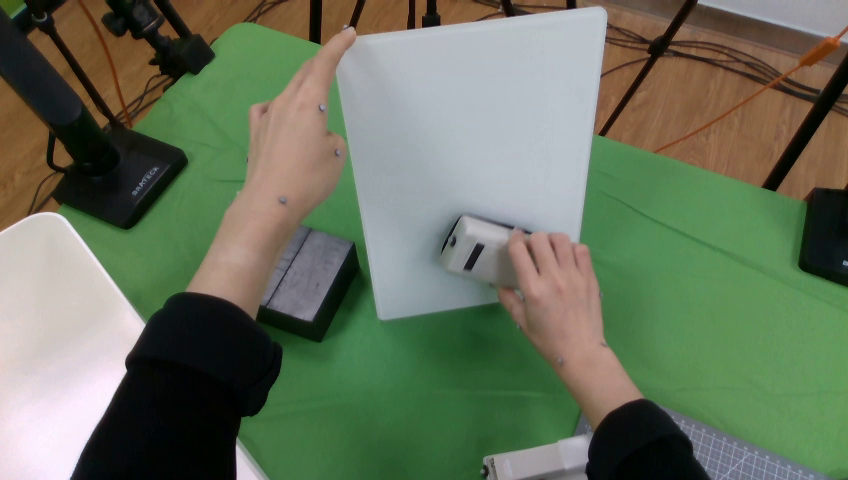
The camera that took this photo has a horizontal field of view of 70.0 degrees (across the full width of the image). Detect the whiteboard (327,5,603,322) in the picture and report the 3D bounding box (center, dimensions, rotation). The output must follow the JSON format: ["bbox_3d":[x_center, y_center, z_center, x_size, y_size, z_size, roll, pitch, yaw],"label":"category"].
[{"bbox_3d":[0.034,-0.089,0.607,0.217,0.308,0.142,-8,40,-4],"label":"whiteboard"}]

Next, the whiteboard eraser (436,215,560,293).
[{"bbox_3d":[0.071,0.013,0.585,0.113,0.056,0.041,14,25,-23],"label":"whiteboard eraser"}]

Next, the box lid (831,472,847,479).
[{"bbox_3d":[0.418,0.390,0.450,0.262,0.015,0.369,22,61,12],"label":"box lid"}]

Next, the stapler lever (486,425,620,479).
[{"bbox_3d":[0.115,0.189,0.535,0.118,0.040,0.026,-10,55,-2],"label":"stapler lever"}]

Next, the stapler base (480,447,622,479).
[{"bbox_3d":[0.118,0.202,0.556,0.130,0.024,0.041,-10,55,-2],"label":"stapler base"}]

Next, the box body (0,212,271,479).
[{"bbox_3d":[-0.296,0.190,0.484,0.254,0.162,0.361,-40,66,-21],"label":"box body"}]
